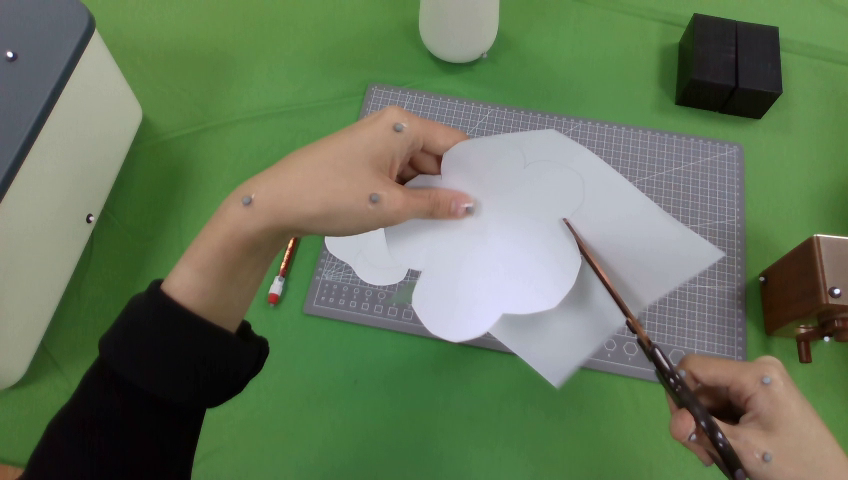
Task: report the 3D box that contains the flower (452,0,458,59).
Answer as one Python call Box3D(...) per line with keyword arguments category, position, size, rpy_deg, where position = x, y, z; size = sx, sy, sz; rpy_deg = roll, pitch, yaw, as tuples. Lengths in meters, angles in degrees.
Box3D(category="flower", position=(0.033, -0.346, 0.610), size=(0.044, 0.365, 0.038), rpy_deg=(3, 49, 5))

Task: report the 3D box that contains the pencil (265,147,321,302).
Box3D(category="pencil", position=(-0.140, -0.023, 0.663), size=(0.012, 0.012, 0.193), rpy_deg=(11, 65, 5))

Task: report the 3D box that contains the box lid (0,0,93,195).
Box3D(category="box lid", position=(-0.474, -0.090, 0.521), size=(0.263, 0.015, 0.369), rpy_deg=(10, 67, 3))

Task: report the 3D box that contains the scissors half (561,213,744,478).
Box3D(category="scissors half", position=(0.126, 0.057, 0.339), size=(0.013, 0.040, 0.175), rpy_deg=(-33, 85, 3))

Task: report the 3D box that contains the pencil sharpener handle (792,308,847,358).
Box3D(category="pencil sharpener handle", position=(0.368, 0.087, 0.555), size=(0.036, 0.068, 0.030), rpy_deg=(11, 66, -11))

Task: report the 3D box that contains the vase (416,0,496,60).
Box3D(category="vase", position=(0.037, -0.299, 0.681), size=(0.098, 0.201, 0.097), rpy_deg=(0, 65, 1))

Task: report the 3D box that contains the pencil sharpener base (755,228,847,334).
Box3D(category="pencil sharpener base", position=(0.378, 0.046, 0.586), size=(0.061, 0.108, 0.076), rpy_deg=(6, 67, 2))

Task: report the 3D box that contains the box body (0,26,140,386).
Box3D(category="box body", position=(-0.474, -0.057, 0.589), size=(0.254, 0.161, 0.361), rpy_deg=(10, 67, 4))

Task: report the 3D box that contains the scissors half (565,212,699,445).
Box3D(category="scissors half", position=(0.127, 0.054, 0.360), size=(0.013, 0.040, 0.176), rpy_deg=(-32, 108, 8))
